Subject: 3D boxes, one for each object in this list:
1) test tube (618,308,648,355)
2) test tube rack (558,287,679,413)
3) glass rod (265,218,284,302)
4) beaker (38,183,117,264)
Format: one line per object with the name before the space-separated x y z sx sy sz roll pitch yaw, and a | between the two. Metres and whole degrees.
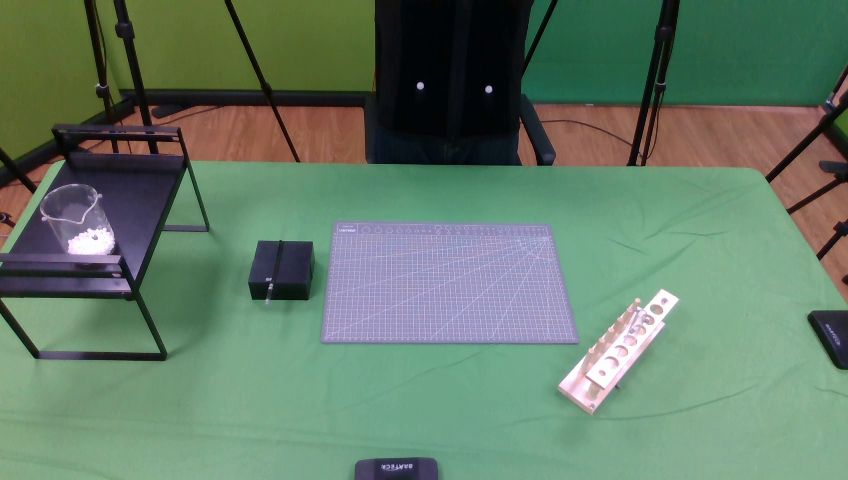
test tube | 0.327 0.154 0.956 0.017 0.151 0.017 -1 50 1
test tube rack | 0.326 0.170 1.009 0.066 0.085 0.242 36 54 26
glass rod | -0.267 0.031 1.084 0.008 0.008 0.198 1 47 -3
beaker | -0.494 -0.019 0.874 0.074 0.101 0.083 -29 55 -27
